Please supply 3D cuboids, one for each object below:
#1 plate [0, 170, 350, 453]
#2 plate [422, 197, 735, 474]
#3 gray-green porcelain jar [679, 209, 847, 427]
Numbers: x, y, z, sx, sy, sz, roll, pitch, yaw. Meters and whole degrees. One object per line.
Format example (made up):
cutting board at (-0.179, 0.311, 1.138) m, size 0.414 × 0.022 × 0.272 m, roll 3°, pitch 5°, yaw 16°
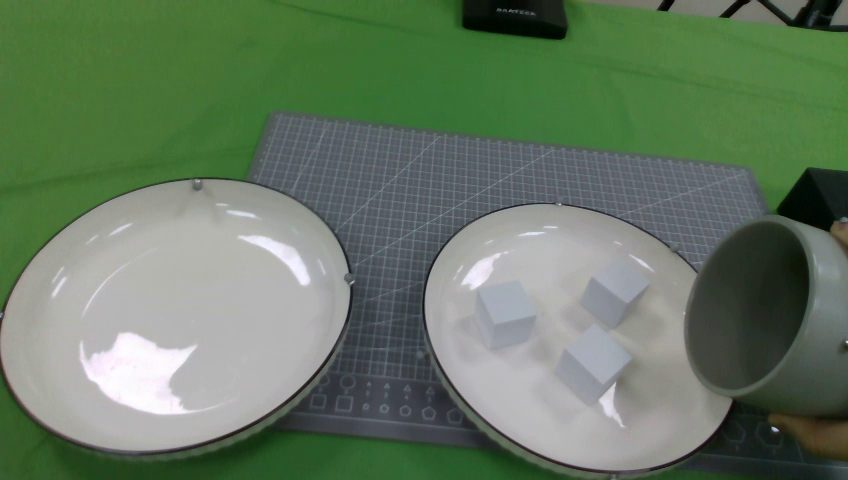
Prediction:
plate at (-0.152, 0.039, 0.389) m, size 0.209 × 0.038 × 0.207 m, roll 3°, pitch 50°, yaw -3°
plate at (0.100, 0.058, 0.409) m, size 0.208 × 0.039 × 0.205 m, roll 4°, pitch 49°, yaw -4°
gray-green porcelain jar at (0.233, 0.050, 0.347) m, size 0.127 × 0.106 × 0.105 m, roll 17°, pitch 49°, yaw -7°
